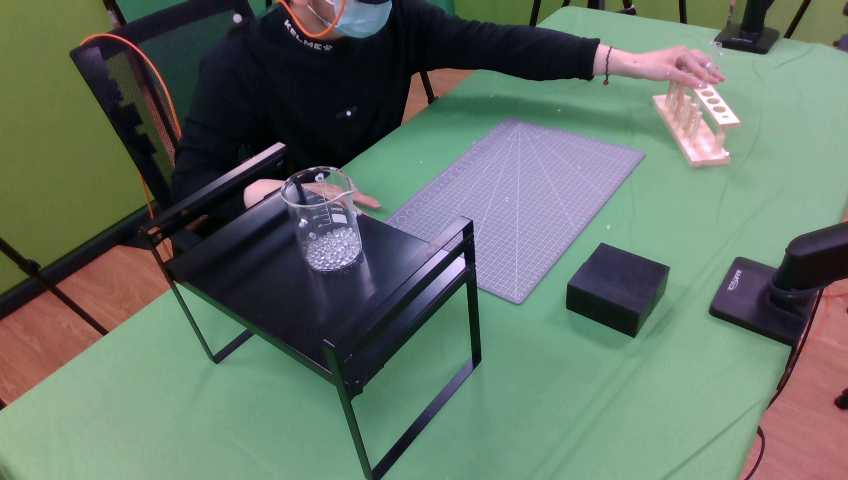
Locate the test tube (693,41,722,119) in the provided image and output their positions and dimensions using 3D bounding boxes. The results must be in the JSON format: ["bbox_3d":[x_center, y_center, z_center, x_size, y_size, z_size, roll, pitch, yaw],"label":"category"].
[{"bbox_3d":[0.514,-0.289,1.105,0.017,0.151,0.017,0,42,1],"label":"test tube"}]

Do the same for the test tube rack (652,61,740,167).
[{"bbox_3d":[0.499,-0.242,1.130,0.067,0.085,0.241,-5,41,4],"label":"test tube rack"}]

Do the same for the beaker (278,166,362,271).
[{"bbox_3d":[-0.109,-0.022,0.675,0.084,0.101,0.073,-2,41,5],"label":"beaker"}]
